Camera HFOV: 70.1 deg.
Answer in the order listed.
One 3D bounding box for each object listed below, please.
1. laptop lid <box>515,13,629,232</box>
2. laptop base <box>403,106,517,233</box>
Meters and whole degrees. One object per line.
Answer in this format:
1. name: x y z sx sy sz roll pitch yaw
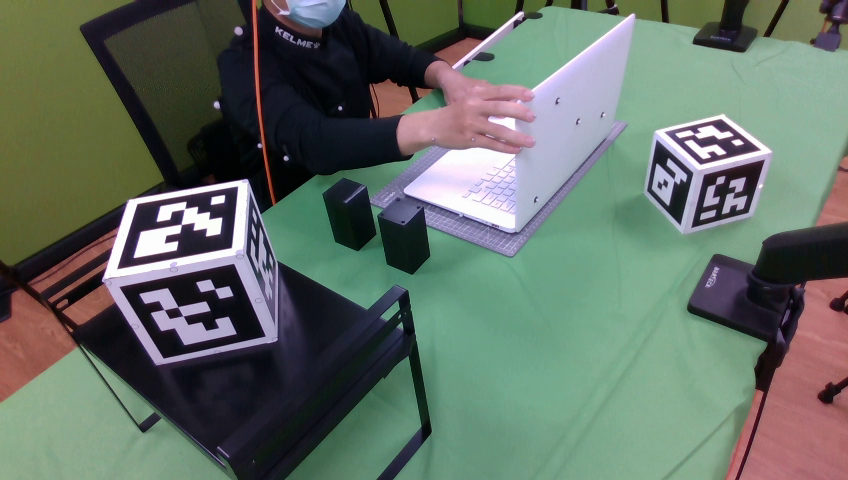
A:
1. laptop lid: 0.244 -0.193 0.977 0.013 0.242 0.358 24 48 30
2. laptop base: 0.156 -0.144 1.117 0.233 0.023 0.355 20 47 32
